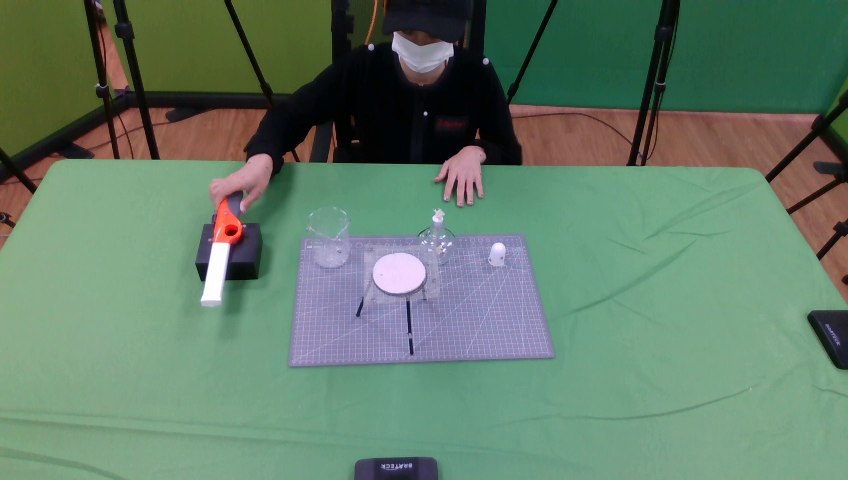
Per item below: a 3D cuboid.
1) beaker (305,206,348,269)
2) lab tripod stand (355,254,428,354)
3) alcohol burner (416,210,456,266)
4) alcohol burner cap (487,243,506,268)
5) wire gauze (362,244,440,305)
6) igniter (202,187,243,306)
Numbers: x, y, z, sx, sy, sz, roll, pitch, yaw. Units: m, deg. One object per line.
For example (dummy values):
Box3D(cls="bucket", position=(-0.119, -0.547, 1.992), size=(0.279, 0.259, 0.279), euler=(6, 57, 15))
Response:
Box3D(cls="beaker", position=(-0.176, 0.001, 1.126), size=(0.074, 0.101, 0.083), euler=(-14, 49, -16))
Box3D(cls="lab tripod stand", position=(-0.046, 0.100, 1.017), size=(0.148, 0.132, 0.147), euler=(1, 47, -1))
Box3D(cls="alcohol burner", position=(0.023, -0.009, 1.141), size=(0.078, 0.120, 0.077), euler=(2, 44, -2))
Box3D(cls="alcohol burner cap", position=(0.141, 0.027, 1.166), size=(0.034, 0.048, 0.033), euler=(2, 45, -2))
Box3D(cls="wire gauze", position=(-0.038, 0.051, 0.971), size=(0.121, 0.011, 0.124), euler=(-1, 46, -4))
Box3D(cls="igniter", position=(-0.365, 0.002, 1.098), size=(0.057, 0.025, 0.274), euler=(2, 48, -9))
